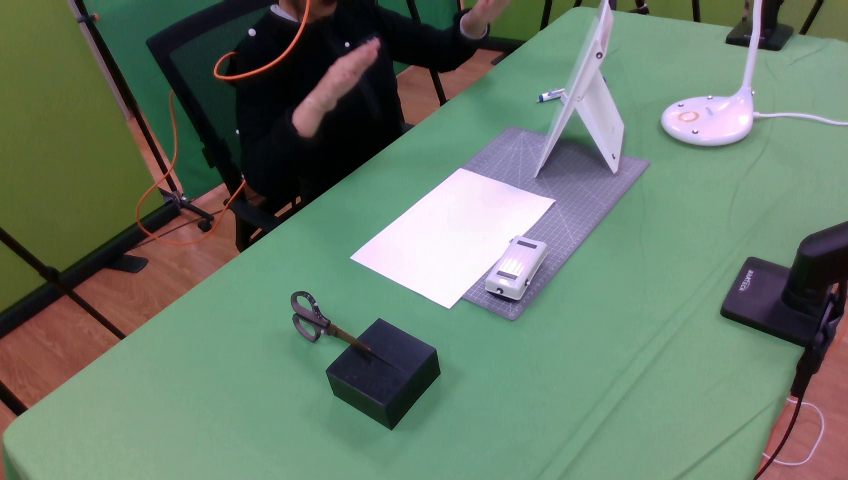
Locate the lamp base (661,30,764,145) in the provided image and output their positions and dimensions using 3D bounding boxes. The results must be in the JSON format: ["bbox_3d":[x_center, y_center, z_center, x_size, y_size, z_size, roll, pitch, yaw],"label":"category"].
[{"bbox_3d":[0.535,-0.287,1.096,0.179,0.181,0.159,-10,40,-4],"label":"lamp base"}]

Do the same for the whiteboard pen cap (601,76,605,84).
[{"bbox_3d":[0.372,-0.341,1.305,0.033,0.018,0.018,-17,41,-1],"label":"whiteboard pen cap"}]

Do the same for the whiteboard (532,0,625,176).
[{"bbox_3d":[0.320,-0.259,1.050,0.144,0.306,0.217,21,45,5],"label":"whiteboard"}]

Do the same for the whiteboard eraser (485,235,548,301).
[{"bbox_3d":[0.137,0.042,0.887,0.055,0.042,0.113,15,46,27],"label":"whiteboard eraser"}]

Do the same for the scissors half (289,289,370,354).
[{"bbox_3d":[-0.128,0.110,0.809,0.013,0.040,0.173,-17,35,-43],"label":"scissors half"}]

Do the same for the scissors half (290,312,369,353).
[{"bbox_3d":[-0.128,0.129,0.816,0.013,0.040,0.173,-23,21,-40],"label":"scissors half"}]

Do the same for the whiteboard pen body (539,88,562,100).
[{"bbox_3d":[0.315,-0.324,1.302,0.141,0.017,0.017,-15,41,-2],"label":"whiteboard pen body"}]
